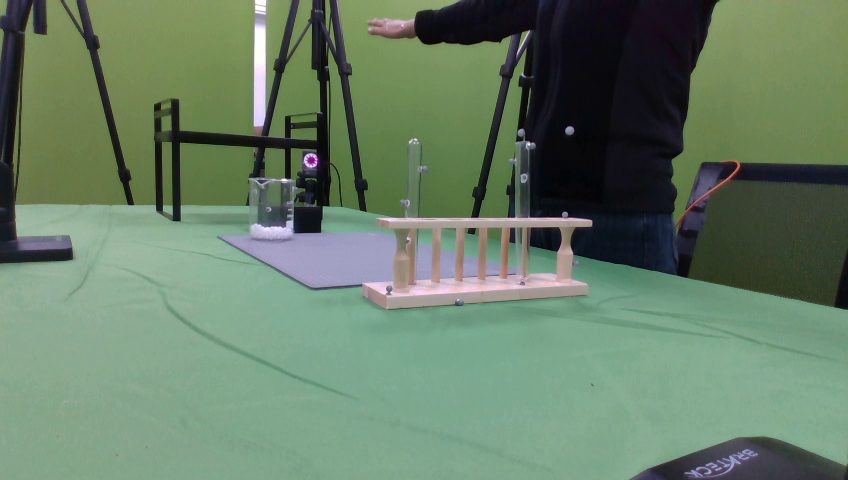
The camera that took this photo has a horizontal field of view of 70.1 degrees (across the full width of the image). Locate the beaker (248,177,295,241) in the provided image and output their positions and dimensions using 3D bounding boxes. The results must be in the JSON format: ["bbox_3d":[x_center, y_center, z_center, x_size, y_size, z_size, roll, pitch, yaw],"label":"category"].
[{"bbox_3d":[-0.252,-0.051,0.992,0.074,0.100,0.084,3,9,6],"label":"beaker"}]

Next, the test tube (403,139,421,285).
[{"bbox_3d":[-0.013,-0.027,0.618,0.017,0.150,0.017,2,7,0],"label":"test tube"}]

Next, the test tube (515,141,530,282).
[{"bbox_3d":[0.104,-0.028,0.636,0.017,0.150,0.017,-2,12,1],"label":"test tube"}]

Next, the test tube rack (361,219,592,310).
[{"bbox_3d":[0.060,0.019,0.640,0.243,0.085,0.066,-1,8,-27],"label":"test tube rack"}]
